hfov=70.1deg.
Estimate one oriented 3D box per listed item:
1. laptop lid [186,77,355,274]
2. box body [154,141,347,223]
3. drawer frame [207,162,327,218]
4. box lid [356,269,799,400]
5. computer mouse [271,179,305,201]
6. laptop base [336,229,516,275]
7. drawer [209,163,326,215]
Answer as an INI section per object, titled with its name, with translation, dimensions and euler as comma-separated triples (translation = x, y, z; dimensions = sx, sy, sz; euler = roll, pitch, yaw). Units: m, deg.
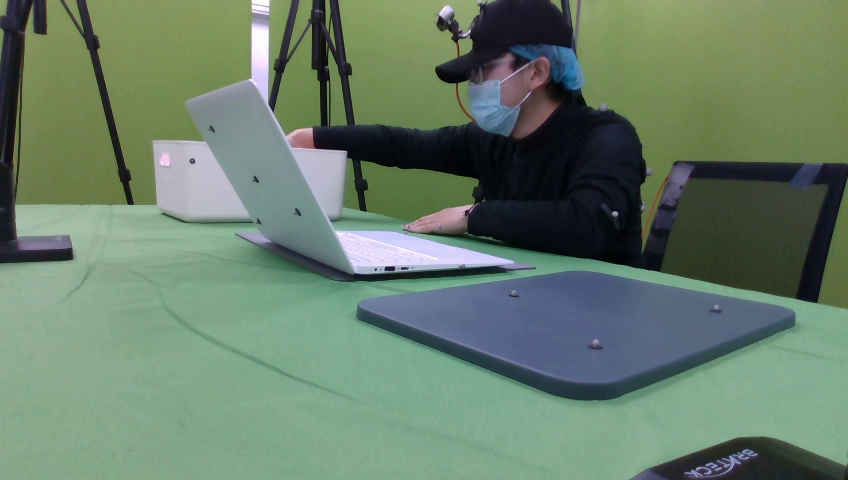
[laptop lid]
translation = -0.211, -0.081, 0.772
dimensions = 0.013, 0.242, 0.355
euler = -35, 25, -23
[box body]
translation = -0.384, -0.132, 1.346
dimensions = 0.366, 0.160, 0.253
euler = -3, 9, -36
[drawer frame]
translation = -0.353, -0.117, 1.357
dimensions = 0.214, 0.083, 0.200
euler = -12, 19, -30
[box lid]
translation = 0.152, 0.068, 0.564
dimensions = 0.374, 0.015, 0.262
euler = -4, 10, -41
[computer mouse]
translation = -0.313, -0.115, 1.385
dimensions = 0.063, 0.041, 0.116
euler = 4, 13, -24
[laptop base]
translation = -0.065, 0.014, 0.877
dimensions = 0.237, 0.023, 0.352
euler = 1, 7, -32
[drawer]
translation = -0.352, -0.117, 1.357
dimensions = 0.213, 0.073, 0.193
euler = -11, 20, -29
